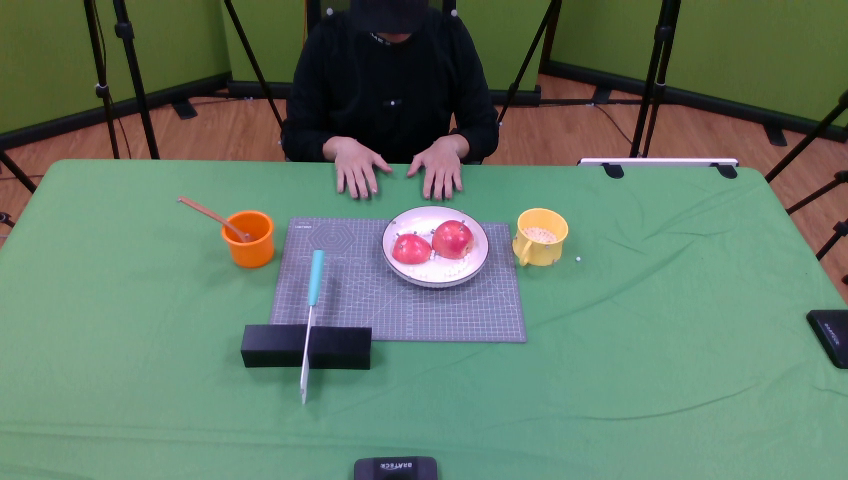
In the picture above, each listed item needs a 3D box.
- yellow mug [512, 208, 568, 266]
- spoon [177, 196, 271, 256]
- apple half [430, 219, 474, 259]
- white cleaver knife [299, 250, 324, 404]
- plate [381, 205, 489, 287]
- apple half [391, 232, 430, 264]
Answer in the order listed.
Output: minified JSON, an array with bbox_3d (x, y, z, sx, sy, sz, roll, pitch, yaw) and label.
[{"bbox_3d":[0.219,0.002,1.182,0.099,0.064,0.130,27,51,21],"label":"yellow mug"},{"bbox_3d":[-0.362,-0.027,1.108,0.021,0.195,0.041,-31,35,28],"label":"spoon"},{"bbox_3d":[0.056,-0.007,1.172,0.081,0.053,0.074,-33,59,-31],"label":"apple half"},{"bbox_3d":[-0.194,0.134,1.019,0.021,0.066,0.284,5,50,-6],"label":"white cleaver knife"},{"bbox_3d":[0.021,0.015,1.170,0.209,0.038,0.208,2,46,-2],"label":"plate"},{"bbox_3d":[-0.024,0.009,1.163,0.081,0.033,0.081,2,43,-2],"label":"apple half"}]
